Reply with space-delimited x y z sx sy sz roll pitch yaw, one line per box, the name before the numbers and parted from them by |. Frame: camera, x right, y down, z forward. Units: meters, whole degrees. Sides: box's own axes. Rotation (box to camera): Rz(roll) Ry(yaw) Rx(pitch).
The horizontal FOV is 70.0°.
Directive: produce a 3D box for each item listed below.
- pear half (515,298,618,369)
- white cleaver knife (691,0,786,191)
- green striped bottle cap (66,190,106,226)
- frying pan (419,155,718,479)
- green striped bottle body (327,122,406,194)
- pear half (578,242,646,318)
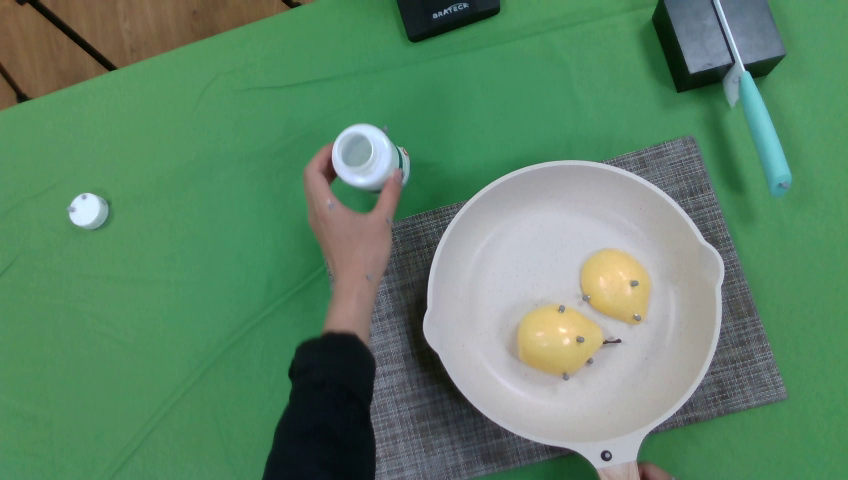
pear half | 0.153 0.099 0.645 0.110 0.056 0.076 -3 86 5
white cleaver knife | 0.337 -0.189 0.666 0.021 0.066 0.285 -14 77 10
green striped bottle cap | -0.427 -0.041 0.766 0.044 0.020 0.044 -1 80 8
frying pan | 0.168 0.154 0.610 0.307 0.103 0.484 -14 71 6
green striped bottle body | -0.061 -0.085 0.635 0.063 0.119 0.063 0 88 10
pear half | 0.207 0.043 0.658 0.070 0.031 0.087 -32 75 6
